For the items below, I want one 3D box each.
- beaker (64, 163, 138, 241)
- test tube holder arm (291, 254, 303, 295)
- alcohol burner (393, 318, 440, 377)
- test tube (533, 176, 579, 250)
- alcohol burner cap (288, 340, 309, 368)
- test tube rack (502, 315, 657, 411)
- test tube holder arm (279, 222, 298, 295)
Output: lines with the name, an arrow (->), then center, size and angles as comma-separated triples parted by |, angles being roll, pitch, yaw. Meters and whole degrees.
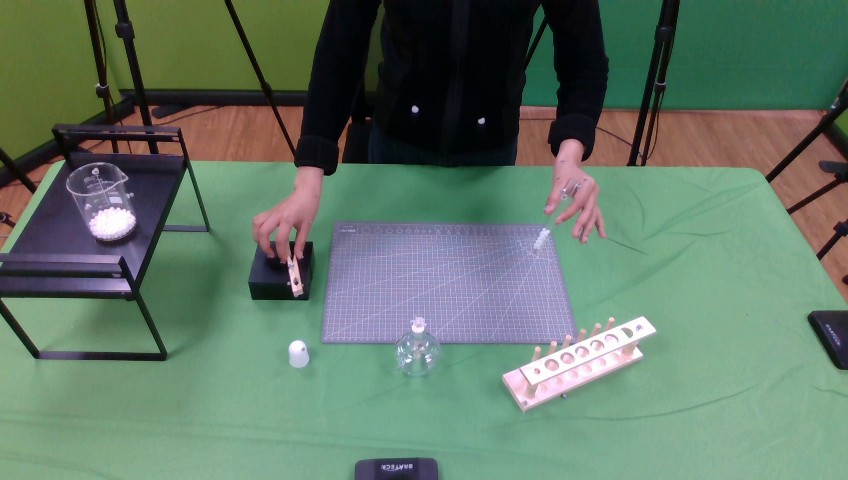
beaker -> -0.477, -0.055, 0.910 | 0.084, 0.101, 0.073 | -9, 47, -13
test tube holder arm -> -0.224, 0.059, 1.057 | 0.010, 0.015, 0.087 | -10, 46, -15
alcohol burner -> -0.011, 0.167, 0.971 | 0.078, 0.120, 0.077 | 1, 45, -1
test tube -> 0.209, -0.040, 0.969 | 0.017, 0.151, 0.017 | 12, 41, -10
alcohol burner cap -> -0.207, 0.183, 0.991 | 0.034, 0.048, 0.033 | 2, 47, -2
test tube rack -> 0.253, 0.186, 0.988 | 0.242, 0.085, 0.066 | -18, 51, -20
test tube holder arm -> -0.243, 0.029, 1.086 | 0.013, 0.015, 0.177 | -11, 47, -15
